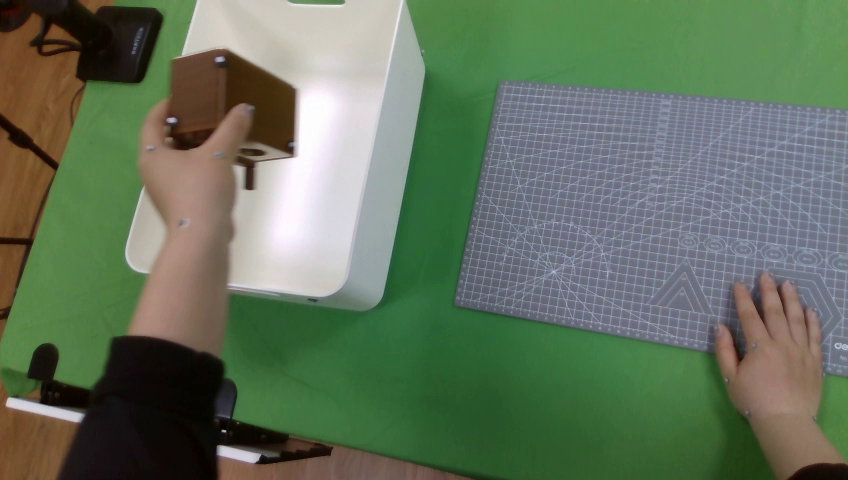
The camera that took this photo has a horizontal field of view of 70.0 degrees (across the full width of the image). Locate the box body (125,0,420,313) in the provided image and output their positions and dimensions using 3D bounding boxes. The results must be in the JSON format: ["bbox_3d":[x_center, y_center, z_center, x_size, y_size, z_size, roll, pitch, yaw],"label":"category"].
[{"bbox_3d":[-0.158,-0.105,0.727,0.253,0.161,0.362,6,77,13],"label":"box body"}]

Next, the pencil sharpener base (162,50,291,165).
[{"bbox_3d":[-0.173,-0.110,0.544,0.061,0.108,0.076,-4,83,23],"label":"pencil sharpener base"}]

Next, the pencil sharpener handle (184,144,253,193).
[{"bbox_3d":[-0.175,-0.061,0.526,0.036,0.068,0.030,-5,82,31],"label":"pencil sharpener handle"}]
